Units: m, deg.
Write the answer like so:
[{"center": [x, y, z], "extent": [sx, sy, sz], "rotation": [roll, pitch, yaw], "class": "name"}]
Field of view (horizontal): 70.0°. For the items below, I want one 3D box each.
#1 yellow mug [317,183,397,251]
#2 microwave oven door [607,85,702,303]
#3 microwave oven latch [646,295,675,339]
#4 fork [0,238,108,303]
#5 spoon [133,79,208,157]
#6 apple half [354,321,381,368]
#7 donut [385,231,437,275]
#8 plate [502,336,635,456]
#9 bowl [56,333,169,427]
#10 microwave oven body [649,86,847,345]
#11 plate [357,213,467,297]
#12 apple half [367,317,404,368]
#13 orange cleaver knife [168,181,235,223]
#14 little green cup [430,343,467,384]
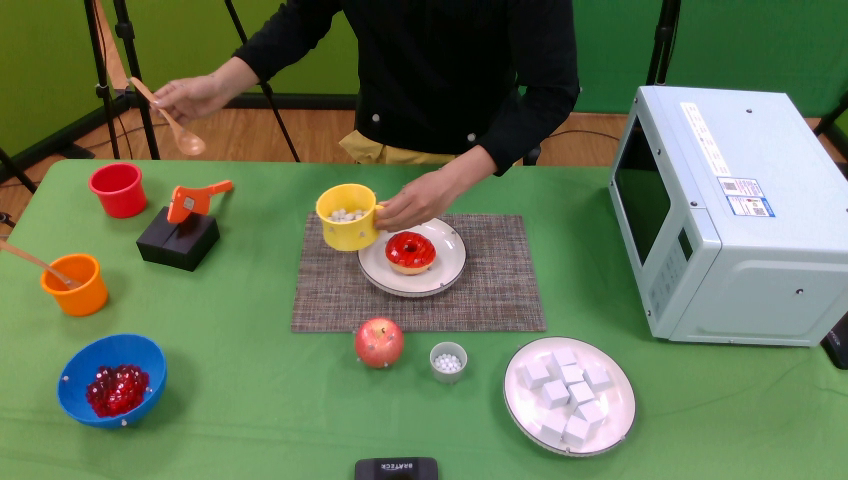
[{"center": [-0.109, -0.040, 1.017], "extent": [0.131, 0.064, 0.099], "rotation": [2, 47, 7], "class": "yellow mug"}, {"center": [0.423, -0.094, 1.140], "extent": [0.039, 0.245, 0.353], "rotation": [2, 46, -1], "class": "microwave oven door"}, {"center": [0.412, 0.134, 1.061], "extent": [0.030, 0.029, 0.078], "rotation": [4, 45, 1], "class": "microwave oven latch"}, {"center": [-0.633, 0.048, 1.017], "extent": [0.208, 0.018, 0.028], "rotation": [40, 41, -27], "class": "fork"}, {"center": [-0.459, -0.222, 1.093], "extent": [0.041, 0.021, 0.193], "rotation": [-40, 89, -25], "class": "spoon"}, {"center": [-0.097, 0.176, 0.985], "extent": [0.033, 0.081, 0.080], "rotation": [-12, 48, -20], "class": "apple half"}, {"center": [-0.025, 0.023, 1.141], "extent": [0.099, 0.048, 0.098], "rotation": [4, 45, -3], "class": "donut"}, {"center": [0.225, 0.248, 0.963], "extent": [0.208, 0.039, 0.206], "rotation": [2, 46, -2], "class": "plate"}, {"center": [-0.456, 0.223, 0.911], "extent": [0.151, 0.077, 0.150], "rotation": [3, 46, -2], "class": "bowl"}, {"center": [0.568, -0.053, 1.118], "extent": [0.326, 0.261, 0.439], "rotation": [2, 45, -1], "class": "microwave oven body"}, {"center": [-0.023, 0.032, 1.149], "extent": [0.209, 0.038, 0.208], "rotation": [2, 46, -2], "class": "plate"}, {"center": [-0.061, 0.167, 0.998], "extent": [0.053, 0.075, 0.080], "rotation": [-11, 44, -20], "class": "apple half"}, {"center": [-0.436, -0.078, 1.196], "extent": [0.012, 0.077, 0.211], "rotation": [16, 15, 10], "class": "orange cleaver knife"}, {"center": [0.039, 0.203, 0.994], "extent": [0.061, 0.039, 0.061], "rotation": [2, 46, -2], "class": "little green cup"}]
